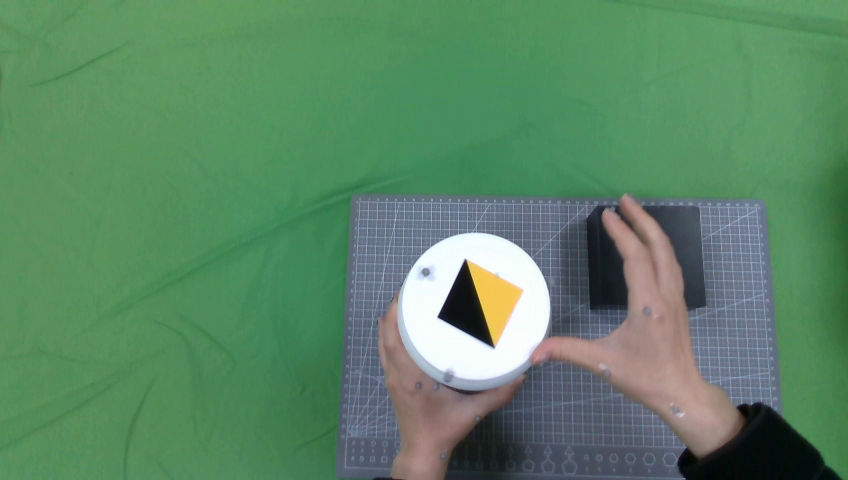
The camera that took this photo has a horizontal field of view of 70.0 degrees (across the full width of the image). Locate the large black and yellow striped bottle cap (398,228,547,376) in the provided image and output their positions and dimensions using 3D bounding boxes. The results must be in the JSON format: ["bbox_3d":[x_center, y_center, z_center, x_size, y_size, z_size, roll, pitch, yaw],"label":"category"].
[{"bbox_3d":[0.037,0.047,0.468,0.115,0.019,0.114,0,79,1],"label":"large black and yellow striped bottle cap"}]

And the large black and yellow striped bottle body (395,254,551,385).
[{"bbox_3d":[0.043,0.065,0.552,0.131,0.185,0.130,0,79,3],"label":"large black and yellow striped bottle body"}]
